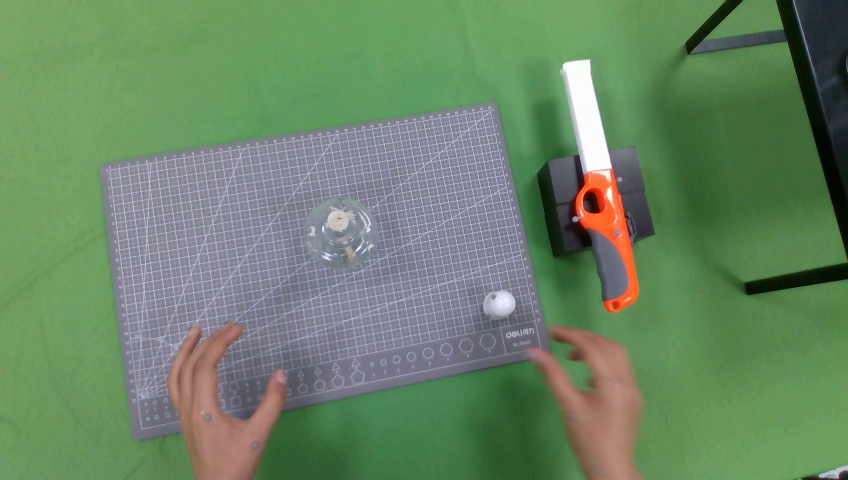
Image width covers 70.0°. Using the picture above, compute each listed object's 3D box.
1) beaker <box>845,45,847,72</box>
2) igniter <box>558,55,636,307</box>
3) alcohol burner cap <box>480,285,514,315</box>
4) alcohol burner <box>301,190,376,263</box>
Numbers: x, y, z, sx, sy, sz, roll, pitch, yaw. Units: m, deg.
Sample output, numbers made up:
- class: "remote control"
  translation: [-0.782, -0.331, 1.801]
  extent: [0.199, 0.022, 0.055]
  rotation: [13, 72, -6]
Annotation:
- class: "beaker"
  translation: [0.417, -0.169, 0.509]
  extent: [0.084, 0.100, 0.074]
  rotation: [-24, 83, -7]
- class: "igniter"
  translation: [0.184, -0.067, 0.647]
  extent: [0.057, 0.025, 0.275]
  rotation: [-7, 79, -5]
- class: "alcohol burner cap"
  translation: [0.080, 0.064, 0.656]
  extent: [0.034, 0.048, 0.033]
  rotation: [1, 80, -5]
- class: "alcohol burner"
  translation: [-0.088, -0.017, 0.618]
  extent: [0.078, 0.119, 0.077]
  rotation: [1, 81, -6]
